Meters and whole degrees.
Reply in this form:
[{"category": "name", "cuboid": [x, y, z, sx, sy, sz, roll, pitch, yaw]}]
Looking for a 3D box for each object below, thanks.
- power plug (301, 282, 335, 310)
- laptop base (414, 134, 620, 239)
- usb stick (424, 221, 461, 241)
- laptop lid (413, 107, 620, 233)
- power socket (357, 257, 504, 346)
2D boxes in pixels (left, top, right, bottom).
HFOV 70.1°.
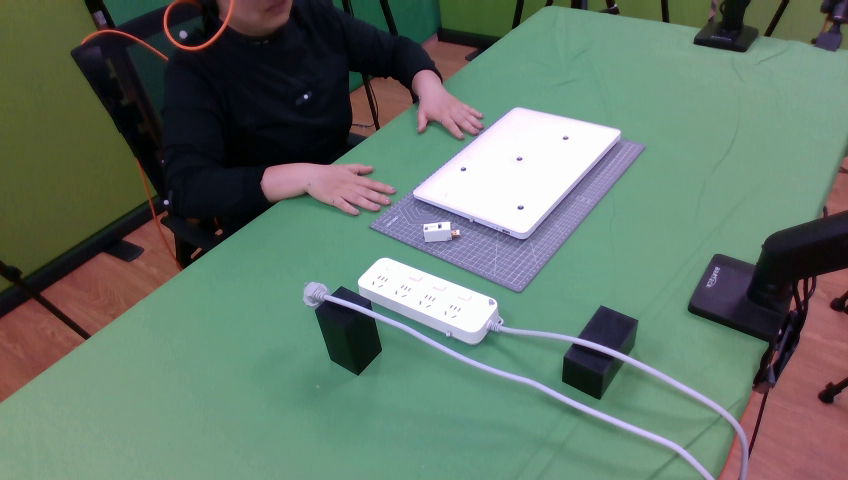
[{"category": "power plug", "cuboid": [-0.134, 0.081, 0.783, 0.035, 0.053, 0.072, -43, 48, -7]}, {"category": "laptop base", "cuboid": [0.176, -0.134, 1.101, 0.233, 0.023, 0.355, 21, 48, 33]}, {"category": "usb stick", "cuboid": [0.030, -0.014, 0.973, 0.059, 0.027, 0.021, -2, 41, 2]}, {"category": "laptop lid", "cuboid": [0.173, -0.144, 1.095, 0.239, 0.013, 0.358, 23, 49, 33]}, {"category": "power socket", "cuboid": [0.003, 0.084, 0.862, 0.225, 0.033, 0.072, 20, 49, 28]}]
